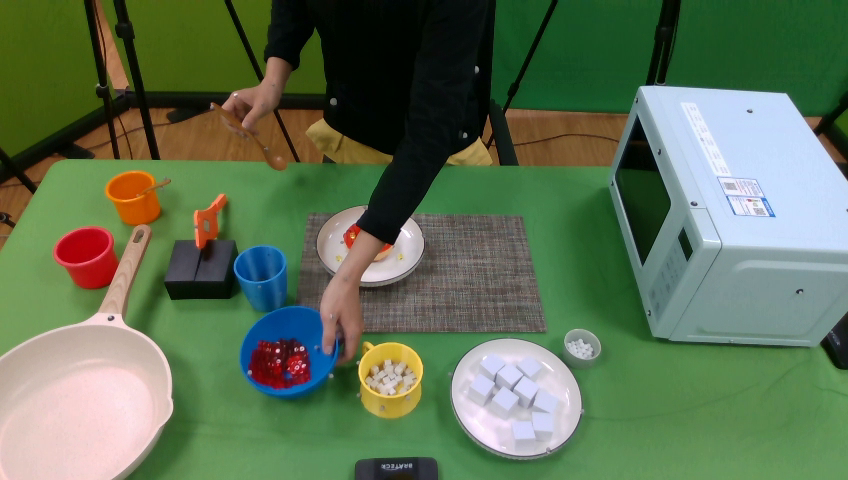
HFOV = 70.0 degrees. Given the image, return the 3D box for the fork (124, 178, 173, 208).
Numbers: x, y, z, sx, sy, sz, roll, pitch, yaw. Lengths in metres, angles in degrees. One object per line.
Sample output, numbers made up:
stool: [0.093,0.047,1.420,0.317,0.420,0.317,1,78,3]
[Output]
fork: [-0.525,-0.089,1.153,0.207,0.019,0.028,-18,27,45]

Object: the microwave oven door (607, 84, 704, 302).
microwave oven door: [0.424,-0.096,1.137,0.039,0.245,0.353,3,46,-1]

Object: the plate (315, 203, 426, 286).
plate: [-0.101,0.012,1.159,0.209,0.038,0.208,2,46,-2]

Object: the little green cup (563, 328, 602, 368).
little green cup: [0.266,0.185,1.025,0.061,0.039,0.061,1,45,-1]

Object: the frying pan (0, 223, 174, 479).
frying pan: [-0.504,0.169,0.941,0.307,0.103,0.485,5,54,-1]

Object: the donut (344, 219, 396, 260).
donut: [-0.103,-0.002,1.157,0.099,0.048,0.098,2,43,-2]

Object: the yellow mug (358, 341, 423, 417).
yellow mug: [-0.062,0.209,0.961,0.100,0.064,0.130,-29,54,-27]

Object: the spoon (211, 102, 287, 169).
spoon: [-0.338,-0.204,1.183,0.021,0.195,0.041,-16,48,25]

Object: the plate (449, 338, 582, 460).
plate: [0.141,0.251,0.955,0.208,0.039,0.206,2,46,-2]

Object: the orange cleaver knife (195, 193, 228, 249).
orange cleaver knife: [-0.406,-0.041,1.163,0.012,0.077,0.210,0,18,-3]

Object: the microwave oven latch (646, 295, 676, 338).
microwave oven latch: [0.413,0.133,1.060,0.030,0.029,0.078,4,46,1]

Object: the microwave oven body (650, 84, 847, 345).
microwave oven body: [0.569,-0.054,1.116,0.326,0.261,0.439,2,46,-1]

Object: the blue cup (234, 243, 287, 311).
blue cup: [-0.276,0.072,1.051,0.093,0.101,0.092,1,47,-1]

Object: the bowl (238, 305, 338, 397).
bowl: [-0.206,0.187,0.956,0.151,0.077,0.150,0,53,1]
